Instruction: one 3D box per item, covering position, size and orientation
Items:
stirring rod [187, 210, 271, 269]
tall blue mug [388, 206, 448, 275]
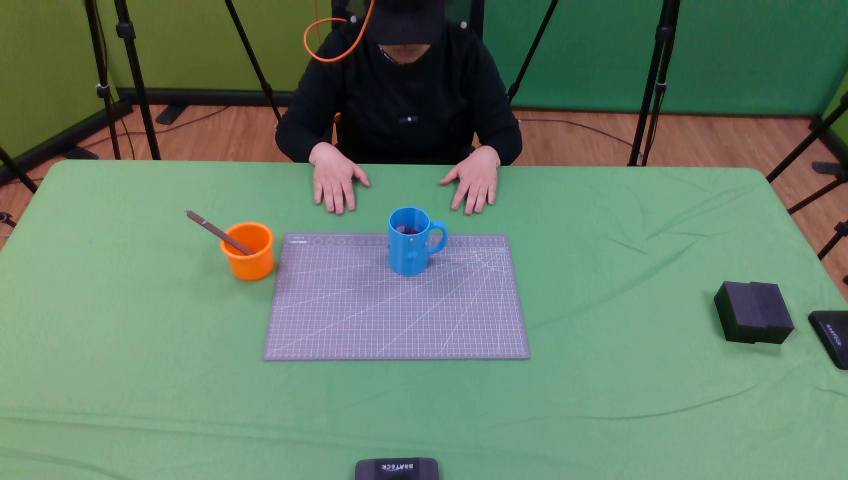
[{"bbox_3d":[-0.349,0.001,1.092,0.177,0.006,0.014,39,35,-27],"label":"stirring rod"},{"bbox_3d":[-0.018,-0.004,1.138,0.107,0.108,0.077,-30,54,-29],"label":"tall blue mug"}]
